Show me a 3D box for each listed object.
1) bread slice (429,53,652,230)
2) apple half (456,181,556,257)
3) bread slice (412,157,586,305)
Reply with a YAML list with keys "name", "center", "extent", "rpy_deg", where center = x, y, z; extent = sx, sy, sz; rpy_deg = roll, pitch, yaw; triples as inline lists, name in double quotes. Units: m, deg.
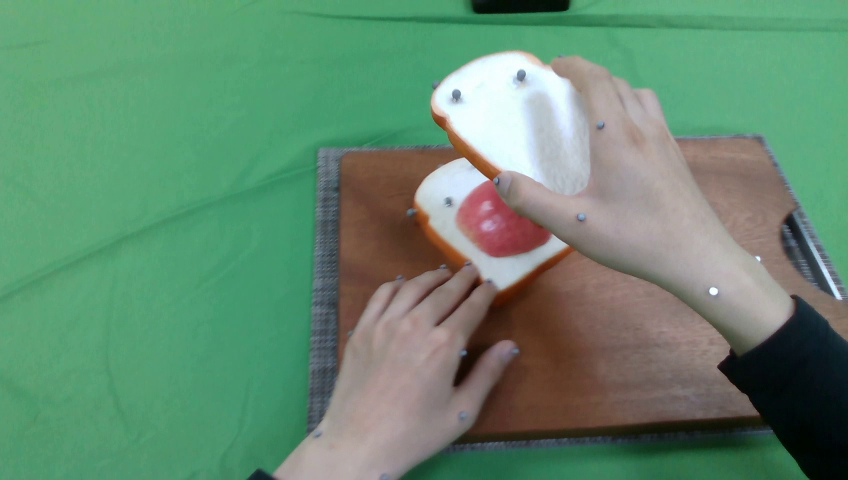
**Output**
- name: "bread slice"
  center: [0.069, -0.075, 0.414]
  extent: [0.107, 0.018, 0.133]
  rpy_deg: [-38, 67, -23]
- name: "apple half"
  center: [0.066, -0.025, 0.481]
  extent: [0.081, 0.033, 0.080]
  rpy_deg: [1, 54, -1]
- name: "bread slice"
  center: [0.053, -0.019, 0.504]
  extent: [0.105, 0.019, 0.130]
  rpy_deg: [-33, 63, -24]
